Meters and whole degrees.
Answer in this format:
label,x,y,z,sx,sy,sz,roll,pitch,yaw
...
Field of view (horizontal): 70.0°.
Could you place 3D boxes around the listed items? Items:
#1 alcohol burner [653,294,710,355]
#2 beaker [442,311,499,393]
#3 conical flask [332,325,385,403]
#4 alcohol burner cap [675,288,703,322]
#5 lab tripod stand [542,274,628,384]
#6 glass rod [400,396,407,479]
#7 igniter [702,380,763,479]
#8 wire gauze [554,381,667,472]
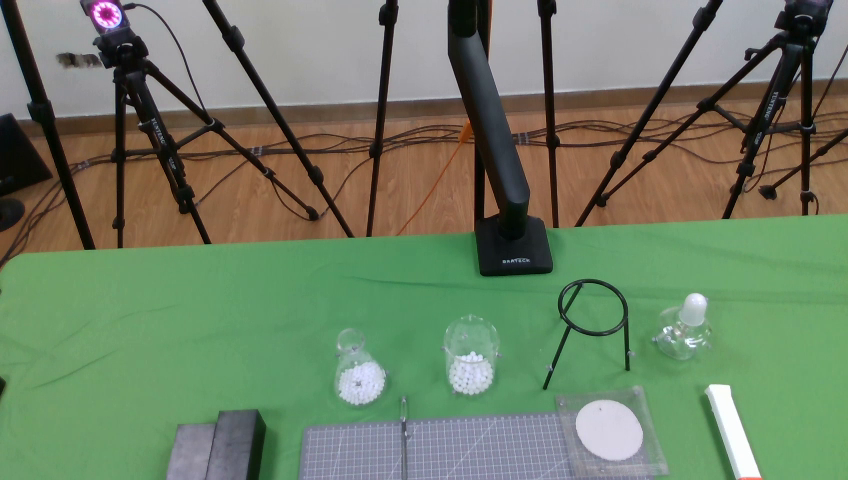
label,x,y,z,sx,sy,sz,roll,pitch,yaw
alcohol burner,0.367,0.111,0.856,0.078,0.120,0.077,-2,51,3
beaker,0.063,0.157,0.838,0.074,0.101,0.083,-1,49,1
conical flask,-0.095,0.164,0.824,0.075,0.123,0.074,-1,49,2
alcohol burner cap,0.365,0.086,0.829,0.034,0.048,0.033,-5,47,5
lab tripod stand,0.219,0.124,0.837,0.148,0.133,0.147,-1,51,2
glass rod,-0.026,0.292,0.781,0.008,0.008,0.197,-3,49,-1
igniter,0.401,0.300,0.748,0.057,0.025,0.273,5,49,-6
wire gauze,0.246,0.249,0.809,0.125,0.011,0.120,-4,49,-1
